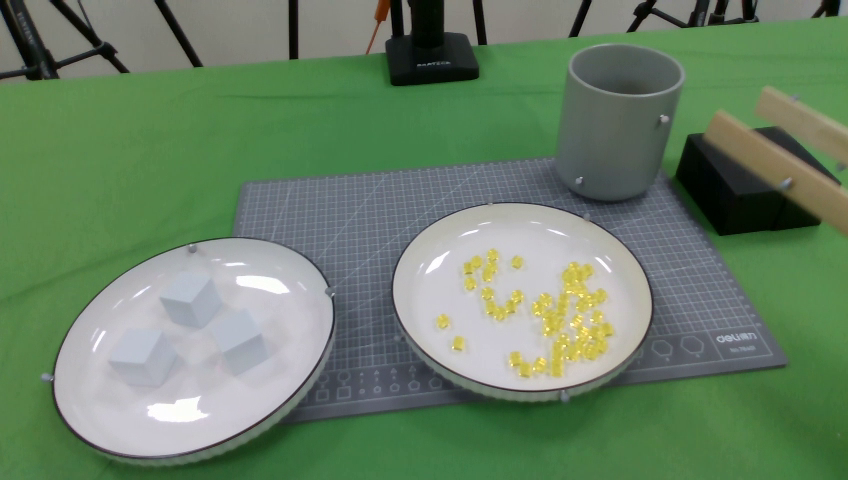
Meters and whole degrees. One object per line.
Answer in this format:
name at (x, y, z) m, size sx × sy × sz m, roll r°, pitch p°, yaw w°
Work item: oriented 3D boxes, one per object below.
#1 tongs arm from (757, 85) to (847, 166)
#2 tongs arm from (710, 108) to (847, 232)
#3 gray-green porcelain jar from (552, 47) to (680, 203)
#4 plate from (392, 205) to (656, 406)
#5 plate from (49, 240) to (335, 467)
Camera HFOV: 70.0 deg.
tongs arm at (0.348, 0.021, 0.344) m, size 0.051 × 0.027 × 0.381 m, roll -28°, pitch 56°, yaw -25°
tongs arm at (0.320, 0.034, 0.331) m, size 0.028 × 0.028 × 0.383 m, roll -25°, pitch 54°, yaw -27°
gray-green porcelain jar at (0.183, -0.109, 0.599) m, size 0.106 × 0.127 × 0.105 m, roll -1°, pitch 43°, yaw 1°
plate at (0.079, 0.050, 0.497) m, size 0.208 × 0.039 × 0.205 m, roll -1°, pitch 42°, yaw 1°
plate at (-0.171, 0.083, 0.471) m, size 0.209 × 0.038 × 0.207 m, roll -2°, pitch 43°, yaw 2°
